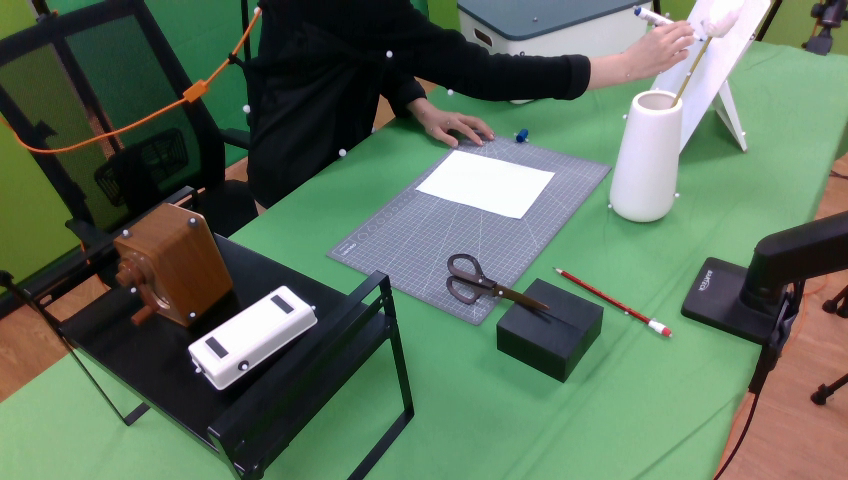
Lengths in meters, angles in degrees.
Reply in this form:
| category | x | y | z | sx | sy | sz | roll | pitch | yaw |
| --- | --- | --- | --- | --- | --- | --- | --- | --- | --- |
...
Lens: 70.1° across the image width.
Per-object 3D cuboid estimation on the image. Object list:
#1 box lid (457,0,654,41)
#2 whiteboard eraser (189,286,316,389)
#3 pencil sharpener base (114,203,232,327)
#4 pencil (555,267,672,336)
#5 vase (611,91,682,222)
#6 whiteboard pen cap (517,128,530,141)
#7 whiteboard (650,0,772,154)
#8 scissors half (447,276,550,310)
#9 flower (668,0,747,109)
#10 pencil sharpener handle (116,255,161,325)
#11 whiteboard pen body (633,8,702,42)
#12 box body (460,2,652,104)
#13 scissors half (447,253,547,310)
| category | x | y | z | sx | sy | sz | roll | pitch | yaw |
| --- | --- | --- | --- | --- | --- | --- | --- | --- | --- |
| box lid | 0.285 | -0.522 | 1.323 | 0.373 | 0.015 | 0.261 | -22 | 43 | -16 |
| whiteboard eraser | -0.166 | 0.096 | 0.593 | 0.113 | 0.042 | 0.055 | -36 | 46 | -29 |
| pencil sharpener base | -0.261 | 0.029 | 0.636 | 0.061 | 0.107 | 0.077 | 18 | 47 | 27 |
| pencil | 0.261 | 0.082 | 0.851 | 0.012 | 0.012 | 0.192 | -33 | 45 | -27 |
| vase | 0.348 | -0.125 | 0.936 | 0.098 | 0.201 | 0.097 | -3 | 40 | 3 |
| whiteboard pen cap | 0.195 | -0.207 | 1.192 | 0.018 | 0.018 | 0.033 | 14 | 41 | 23 |
| whiteboard | 0.543 | -0.298 | 1.076 | 0.144 | 0.305 | 0.216 | 12 | 40 | -7 |
| scissors half | 0.098 | 0.077 | 0.827 | 0.174 | 0.040 | 0.013 | 6 | 14 | 44 |
| flower | 0.355 | -0.187 | 0.880 | 0.038 | 0.362 | 0.044 | 30 | 48 | 14 |
| pencil sharpener handle | -0.286 | 0.050 | 0.594 | 0.035 | 0.068 | 0.031 | 7 | 41 | 36 |
| whiteboard pen body | 0.420 | -0.367 | 1.039 | 0.141 | 0.017 | 0.017 | 16 | 38 | -16 |
| box body | 0.291 | -0.465 | 1.371 | 0.365 | 0.161 | 0.252 | -22 | 42 | -16 |
| scissors half | 0.098 | 0.058 | 0.821 | 0.173 | 0.040 | 0.013 | 27 | 33 | 36 |
